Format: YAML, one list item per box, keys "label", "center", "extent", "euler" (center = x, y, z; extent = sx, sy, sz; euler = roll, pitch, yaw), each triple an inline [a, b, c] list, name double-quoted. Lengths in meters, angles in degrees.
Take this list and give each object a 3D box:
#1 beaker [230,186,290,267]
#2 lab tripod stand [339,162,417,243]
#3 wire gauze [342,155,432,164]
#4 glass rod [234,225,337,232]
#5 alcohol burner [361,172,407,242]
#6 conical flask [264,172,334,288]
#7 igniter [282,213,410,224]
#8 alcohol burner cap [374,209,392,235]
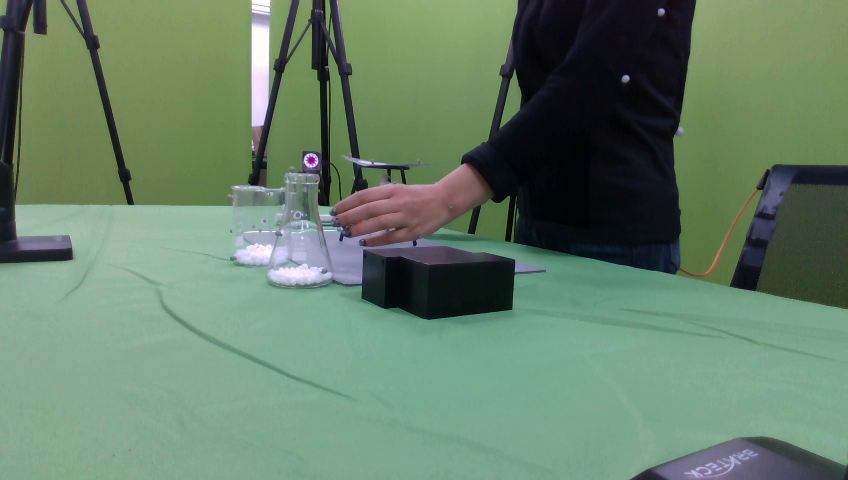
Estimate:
- label: "beaker"
  center: [-0.209, -0.019, 0.778]
  extent: [0.074, 0.100, 0.084]
  euler: [3, 6, 4]
- label: "lab tripod stand"
  center: [-0.067, -0.065, 1.027]
  extent: [0.148, 0.131, 0.148]
  euler: [4, 7, 0]
- label: "wire gauze"
  center: [-0.065, -0.131, 1.017]
  extent: [0.122, 0.011, 0.124]
  euler: [1, 9, -26]
- label: "glass rod"
  center: [-0.256, -0.022, 1.136]
  extent: [0.201, 0.008, 0.008]
  euler: [-3, 8, -33]
- label: "alcohol burner"
  center: [-0.067, -0.056, 1.030]
  extent: [0.078, 0.119, 0.078]
  euler: [4, 9, 0]
- label: "conical flask"
  center: [-0.136, -0.013, 0.660]
  extent: [0.075, 0.122, 0.075]
  euler: [2, 7, 0]
- label: "igniter"
  center: [-0.159, -0.046, 1.287]
  extent: [0.278, 0.025, 0.057]
  euler: [-1, -3, -21]
- label: "alcohol burner cap"
  center: [-0.078, -0.036, 1.148]
  extent: [0.034, 0.048, 0.034]
  euler: [2, 7, 0]
